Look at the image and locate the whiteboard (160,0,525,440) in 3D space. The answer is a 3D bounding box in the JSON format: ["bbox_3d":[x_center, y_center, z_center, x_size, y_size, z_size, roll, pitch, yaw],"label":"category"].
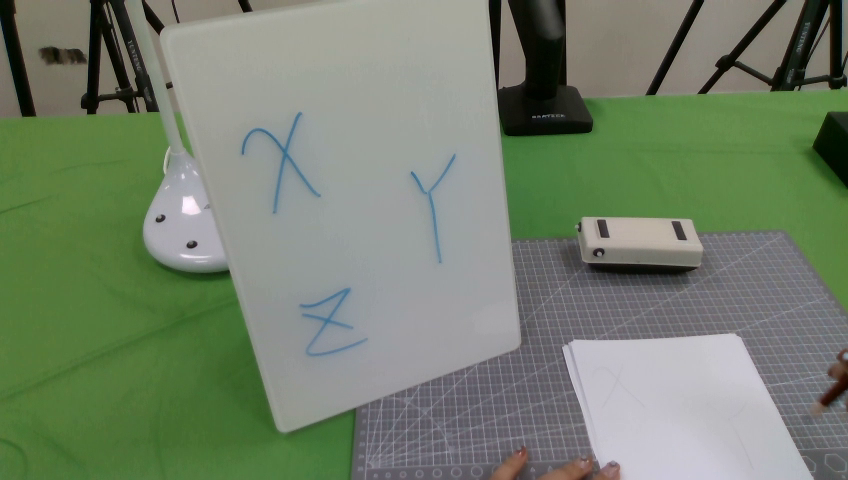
[{"bbox_3d":[-0.057,-0.033,0.503,0.218,0.307,0.142,-16,23,-16],"label":"whiteboard"}]

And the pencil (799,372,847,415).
[{"bbox_3d":[0.296,0.047,0.354,0.012,0.195,0.012,23,33,-16],"label":"pencil"}]

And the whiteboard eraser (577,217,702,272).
[{"bbox_3d":[0.214,0.005,0.608,0.112,0.042,0.055,2,41,4],"label":"whiteboard eraser"}]

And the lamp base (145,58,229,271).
[{"bbox_3d":[-0.232,-0.086,0.621,0.177,0.182,0.160,26,47,32],"label":"lamp base"}]
